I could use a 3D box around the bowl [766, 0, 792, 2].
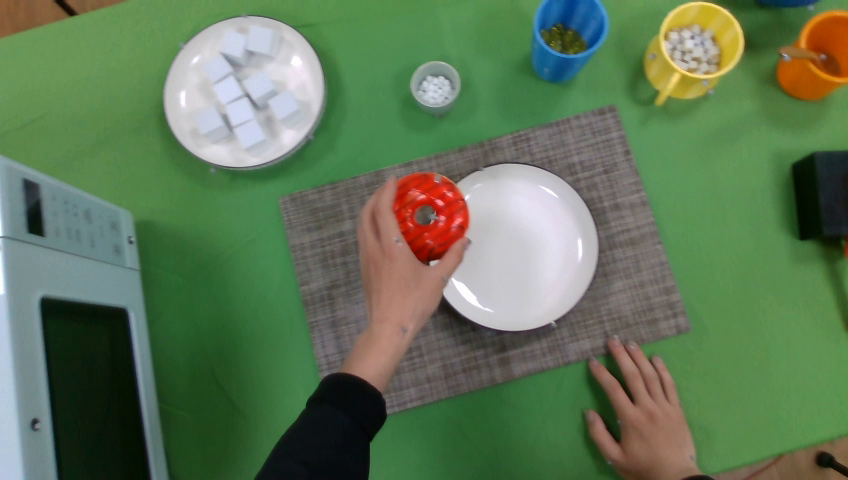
[{"bbox_3d":[0.445,-0.361,0.765,0.151,0.077,0.151,0,82,3],"label":"bowl"}]

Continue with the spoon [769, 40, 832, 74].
[{"bbox_3d":[0.442,-0.220,0.709,0.021,0.195,0.041,-28,76,43],"label":"spoon"}]

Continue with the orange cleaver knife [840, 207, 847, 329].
[{"bbox_3d":[0.510,0.001,0.706,0.012,0.077,0.212,-1,111,4],"label":"orange cleaver knife"}]

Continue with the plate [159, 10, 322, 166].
[{"bbox_3d":[-0.233,-0.193,0.785,0.207,0.039,0.207,0,81,2],"label":"plate"}]

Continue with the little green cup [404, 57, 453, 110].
[{"bbox_3d":[0.007,-0.198,0.777,0.061,0.039,0.061,0,80,3],"label":"little green cup"}]

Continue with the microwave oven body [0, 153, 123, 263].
[{"bbox_3d":[-0.490,0.179,0.622,0.326,0.261,0.440,-13,82,0],"label":"microwave oven body"}]

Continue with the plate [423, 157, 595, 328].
[{"bbox_3d":[0.101,0.003,0.739,0.209,0.038,0.208,0,82,3],"label":"plate"}]

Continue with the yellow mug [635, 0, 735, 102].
[{"bbox_3d":[0.316,-0.229,0.756,0.100,0.064,0.130,32,85,7],"label":"yellow mug"}]

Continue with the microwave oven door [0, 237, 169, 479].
[{"bbox_3d":[-0.339,0.187,0.609,0.039,0.244,0.354,-13,81,0],"label":"microwave oven door"}]

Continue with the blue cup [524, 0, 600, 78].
[{"bbox_3d":[0.161,-0.248,0.747,0.092,0.100,0.092,0,82,1],"label":"blue cup"}]

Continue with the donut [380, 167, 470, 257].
[{"bbox_3d":[0.000,-0.030,0.654,0.099,0.048,0.099,0,92,8],"label":"donut"}]

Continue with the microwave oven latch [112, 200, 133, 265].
[{"bbox_3d":[-0.380,-0.008,0.743,0.030,0.029,0.079,-11,82,0],"label":"microwave oven latch"}]
